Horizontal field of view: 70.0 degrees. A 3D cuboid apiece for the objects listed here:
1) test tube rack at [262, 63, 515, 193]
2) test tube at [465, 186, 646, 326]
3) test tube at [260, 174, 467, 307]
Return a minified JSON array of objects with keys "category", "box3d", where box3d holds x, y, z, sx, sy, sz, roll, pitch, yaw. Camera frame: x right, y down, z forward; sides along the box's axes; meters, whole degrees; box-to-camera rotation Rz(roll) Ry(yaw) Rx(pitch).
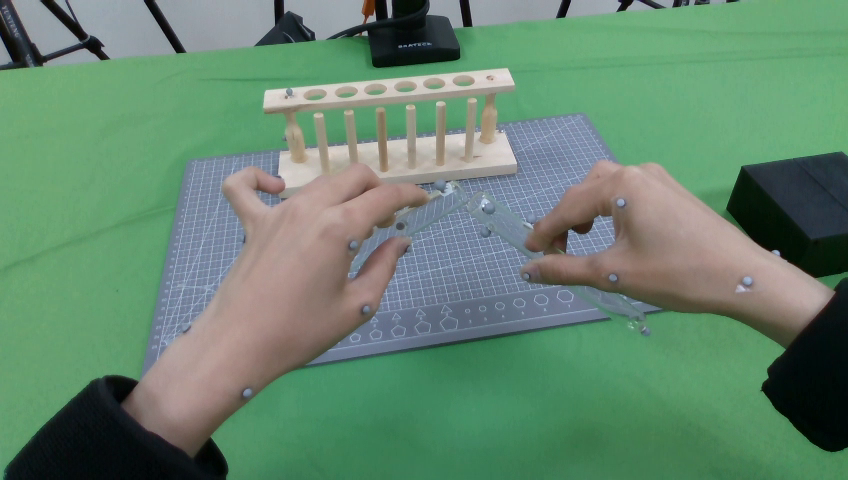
[{"category":"test tube rack","box3d":[-0.031,-0.113,0.608,0.242,0.086,0.066,-7,44,-4]},{"category":"test tube","box3d":[0.084,0.013,0.364,0.151,0.017,0.017,34,39,-24]},{"category":"test tube","box3d":[-0.040,0.003,0.357,0.150,0.017,0.017,-29,39,21]}]
